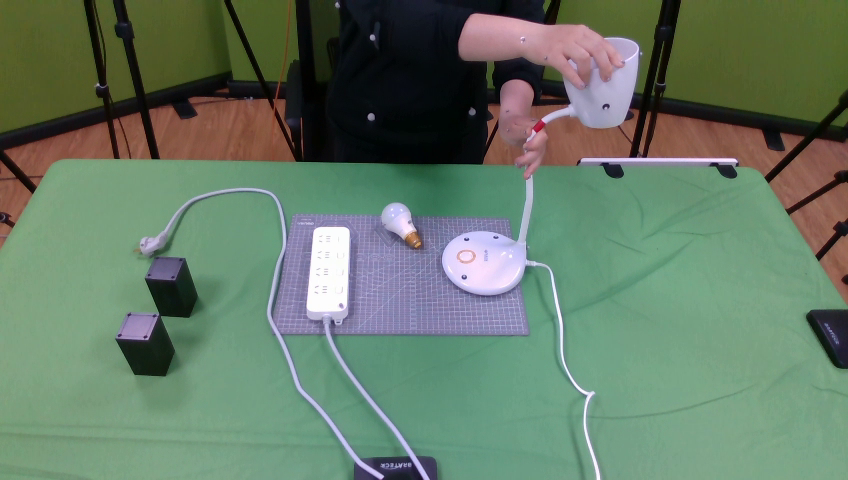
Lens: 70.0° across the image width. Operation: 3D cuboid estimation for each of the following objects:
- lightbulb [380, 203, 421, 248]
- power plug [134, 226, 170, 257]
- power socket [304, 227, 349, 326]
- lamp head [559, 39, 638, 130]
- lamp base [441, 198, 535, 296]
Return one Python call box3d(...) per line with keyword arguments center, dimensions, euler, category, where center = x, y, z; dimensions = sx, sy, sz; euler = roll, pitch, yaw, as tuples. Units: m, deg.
box3d(center=(-0.043, -0.026, 1.198), dimensions=(0.059, 0.060, 0.107), euler=(-29, 70, -28), category="lightbulb")
box3d(center=(-0.515, 0.005, 1.153), dimensions=(0.052, 0.035, 0.072), euler=(-6, 24, 7), category="power plug")
box3d(center=(-0.177, 0.059, 1.115), dimensions=(0.072, 0.033, 0.225), euler=(-1, 46, -4), category="power socket")
box3d(center=(0.263, -0.228, 0.921), dimensions=(0.112, 0.123, 0.112), euler=(-6, 36, 5), category="lamp head")
box3d(center=(0.129, -0.012, 1.105), dimensions=(0.179, 0.181, 0.159), euler=(-1, 46, -9), category="lamp base")
